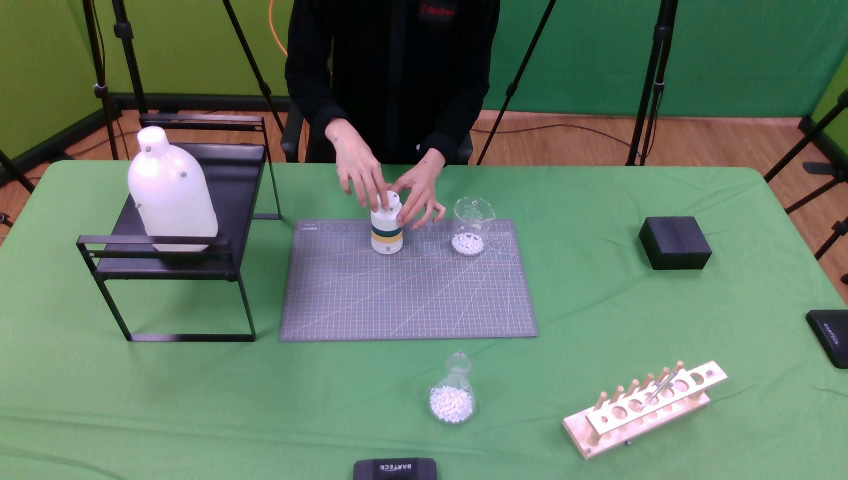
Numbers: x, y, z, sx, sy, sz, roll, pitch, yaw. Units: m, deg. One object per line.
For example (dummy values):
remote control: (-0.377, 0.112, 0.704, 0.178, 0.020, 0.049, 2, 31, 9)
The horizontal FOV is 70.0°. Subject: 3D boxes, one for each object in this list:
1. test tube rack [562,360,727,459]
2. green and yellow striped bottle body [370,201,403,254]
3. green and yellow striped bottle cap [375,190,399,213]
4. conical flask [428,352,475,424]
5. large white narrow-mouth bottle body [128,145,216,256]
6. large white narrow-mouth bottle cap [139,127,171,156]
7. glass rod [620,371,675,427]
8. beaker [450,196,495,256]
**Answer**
test tube rack: (0.341, 0.247, 0.940, 0.243, 0.085, 0.066, -16, 49, -18)
green and yellow striped bottle body: (-0.072, -0.035, 1.153, 0.063, 0.120, 0.063, 2, 46, -2)
green and yellow striped bottle cap: (-0.069, -0.071, 1.114, 0.045, 0.020, 0.045, 2, 44, -2)
conical flask: (0.046, 0.220, 0.920, 0.075, 0.122, 0.075, 2, 46, -2)
large white narrow-mouth bottle body: (-0.366, -0.073, 0.872, 0.102, 0.195, 0.101, 3, 47, -3)
large white narrow-mouth bottle cap: (-0.358, -0.132, 0.808, 0.038, 0.024, 0.037, 3, 47, -3)
glass rod: (0.316, 0.230, 0.863, 0.008, 0.200, 0.008, 3, 54, -3)
beaker: (0.091, -0.024, 1.170, 0.084, 0.101, 0.073, 15, 48, 10)
